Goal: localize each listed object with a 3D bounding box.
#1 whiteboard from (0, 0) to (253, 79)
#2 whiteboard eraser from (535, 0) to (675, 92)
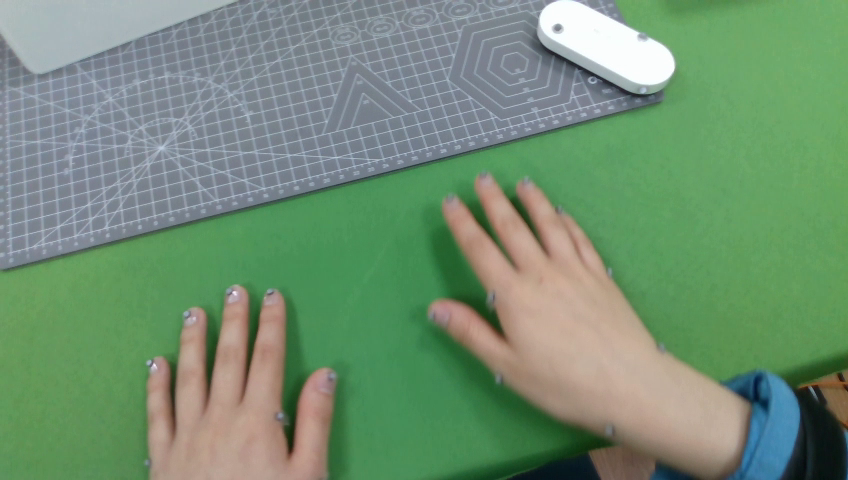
[{"bbox_3d":[-0.232,-0.302,0.378,0.217,0.308,0.142,-25,49,-9],"label":"whiteboard"},{"bbox_3d":[0.126,-0.138,0.425,0.101,0.019,0.041,34,71,15],"label":"whiteboard eraser"}]
